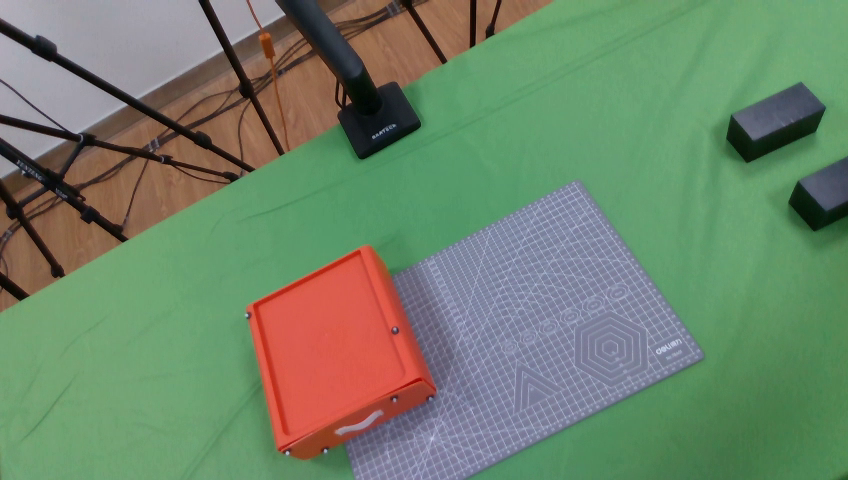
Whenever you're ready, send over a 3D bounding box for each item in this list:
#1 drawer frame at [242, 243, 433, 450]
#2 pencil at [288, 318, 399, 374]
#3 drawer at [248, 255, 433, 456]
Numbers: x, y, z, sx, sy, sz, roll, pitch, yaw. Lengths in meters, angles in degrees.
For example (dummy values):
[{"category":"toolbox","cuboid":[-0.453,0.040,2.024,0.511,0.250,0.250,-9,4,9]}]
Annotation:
[{"category":"drawer frame","cuboid":[-0.121,0.145,0.811,0.201,0.083,0.211,-28,57,4]},{"category":"pencil","cuboid":[-0.113,0.145,0.834,0.192,0.012,0.012,20,71,26]},{"category":"drawer","cuboid":[-0.117,0.149,0.809,0.194,0.074,0.209,-28,57,4]}]
